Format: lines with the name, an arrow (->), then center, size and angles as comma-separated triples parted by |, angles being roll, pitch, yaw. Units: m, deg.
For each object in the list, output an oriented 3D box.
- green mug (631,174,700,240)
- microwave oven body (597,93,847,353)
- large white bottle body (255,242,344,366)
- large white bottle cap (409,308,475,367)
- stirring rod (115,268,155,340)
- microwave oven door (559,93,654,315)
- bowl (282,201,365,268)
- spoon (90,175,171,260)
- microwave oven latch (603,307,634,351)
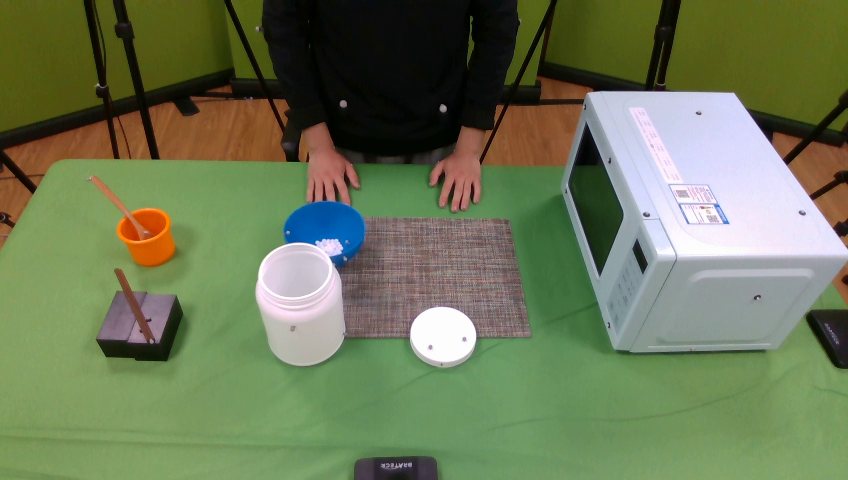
green mug -> 0.456, -0.057, 1.154 | 0.125, 0.105, 0.092 | -14, 46, -10
microwave oven body -> 0.475, -0.041, 1.110 | 0.326, 0.261, 0.438 | -1, 45, -4
large white bottle body -> -0.196, 0.102, 0.967 | 0.131, 0.185, 0.130 | 2, 49, -2
large white bottle cap -> 0.031, 0.166, 1.041 | 0.115, 0.018, 0.114 | 2, 46, -2
stirring rod -> -0.478, 0.103, 0.999 | 0.014, 0.006, 0.175 | 7, 32, -49
microwave oven door -> 0.327, -0.074, 1.123 | 0.039, 0.245, 0.353 | -1, 46, -5
bowl -> -0.187, 0.005, 1.137 | 0.151, 0.077, 0.150 | 3, 46, -3
spoon -> -0.539, -0.042, 1.111 | 0.021, 0.194, 0.041 | -13, 27, 52
microwave oven latch -> 0.332, 0.153, 1.044 | 0.030, 0.029, 0.078 | 0, 45, -4
